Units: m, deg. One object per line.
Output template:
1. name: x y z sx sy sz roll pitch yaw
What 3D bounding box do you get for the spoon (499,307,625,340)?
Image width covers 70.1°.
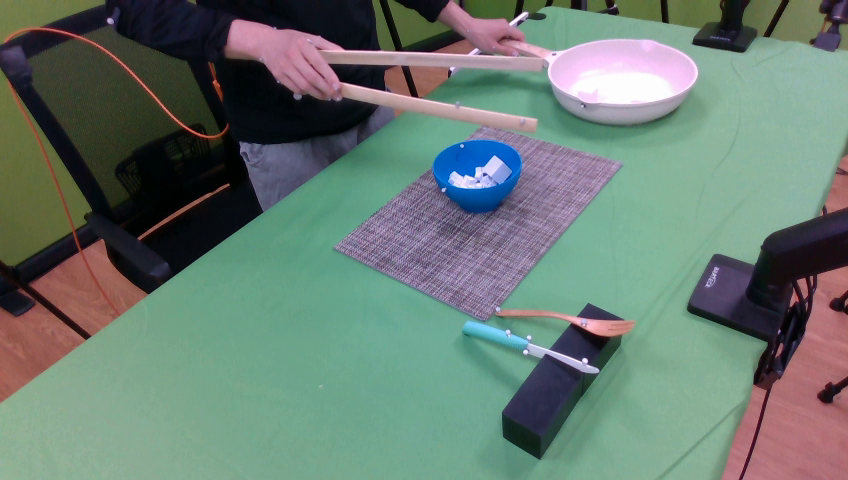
1. spoon: 0.169 0.102 0.773 0.042 0.021 0.192 -6 11 -38

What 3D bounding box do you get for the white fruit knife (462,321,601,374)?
1. white fruit knife: 0.126 0.132 0.752 0.205 0.027 0.016 12 48 42

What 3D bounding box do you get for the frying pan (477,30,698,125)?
1. frying pan: 0.321 -0.371 1.290 0.484 0.103 0.308 29 51 24

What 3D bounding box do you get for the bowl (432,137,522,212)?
1. bowl: 0.091 -0.100 1.022 0.151 0.077 0.150 -4 41 4

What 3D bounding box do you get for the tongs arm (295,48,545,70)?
1. tongs arm: -0.006 -0.279 0.943 0.388 0.028 0.028 2 59 1

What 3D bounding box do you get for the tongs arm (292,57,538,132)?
1. tongs arm: -0.020 -0.217 0.897 0.384 0.026 0.050 11 57 8
